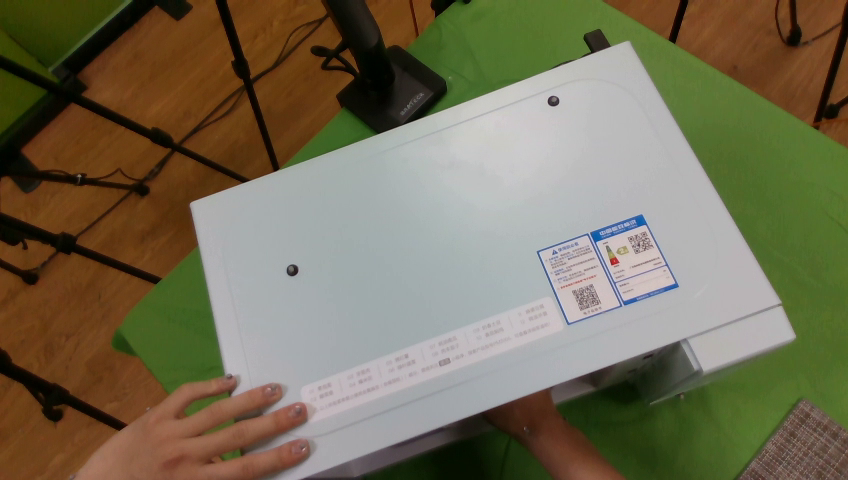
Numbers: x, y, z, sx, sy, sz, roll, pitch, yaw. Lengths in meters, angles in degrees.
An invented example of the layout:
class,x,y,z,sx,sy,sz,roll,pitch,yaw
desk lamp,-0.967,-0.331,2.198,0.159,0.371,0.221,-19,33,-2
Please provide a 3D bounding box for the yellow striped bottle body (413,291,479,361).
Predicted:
class,x,y,z,sx,sy,sz,roll,pitch,yaw
yellow striped bottle body,0.023,0.089,0.620,0.063,0.121,0.062,-2,75,6

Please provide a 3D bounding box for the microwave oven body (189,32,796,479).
class,x,y,z,sx,sy,sz,roll,pitch,yaw
microwave oven body,0.046,0.044,0.625,0.442,0.262,0.323,-21,69,1

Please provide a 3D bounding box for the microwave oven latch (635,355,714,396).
class,x,y,z,sx,sy,sz,roll,pitch,yaw
microwave oven latch,0.274,0.144,0.659,0.079,0.030,0.030,-19,69,2

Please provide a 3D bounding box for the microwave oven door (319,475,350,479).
class,x,y,z,sx,sy,sz,roll,pitch,yaw
microwave oven door,0.032,0.321,0.520,0.354,0.245,0.039,29,76,17
